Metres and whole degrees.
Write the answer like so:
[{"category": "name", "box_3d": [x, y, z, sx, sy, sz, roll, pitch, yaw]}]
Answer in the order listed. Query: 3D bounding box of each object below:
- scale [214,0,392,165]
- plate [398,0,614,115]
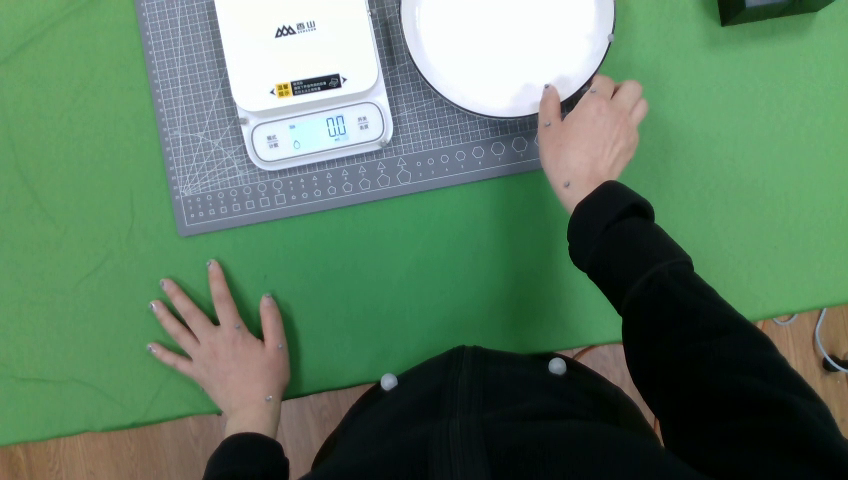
[{"category": "scale", "box_3d": [-0.121, -0.185, 0.602, 0.149, 0.031, 0.201, -11, 91, 1]}, {"category": "plate", "box_3d": [0.079, -0.224, 0.597, 0.209, 0.038, 0.209, 0, 90, 0]}]
